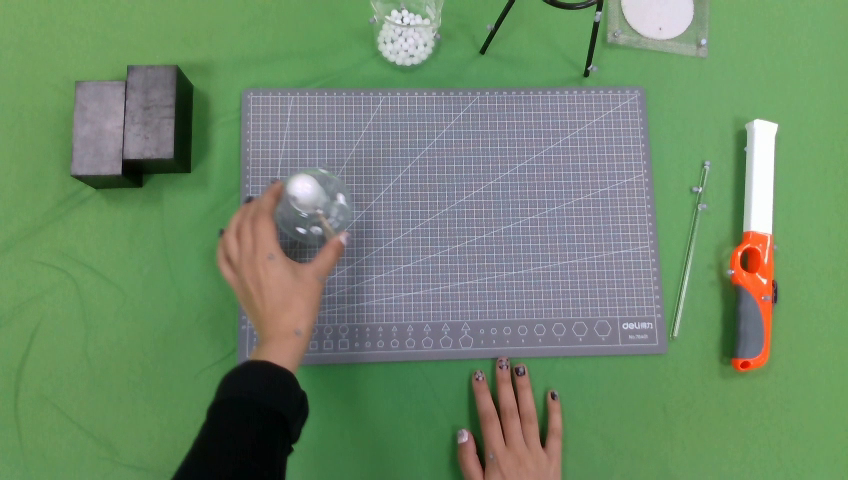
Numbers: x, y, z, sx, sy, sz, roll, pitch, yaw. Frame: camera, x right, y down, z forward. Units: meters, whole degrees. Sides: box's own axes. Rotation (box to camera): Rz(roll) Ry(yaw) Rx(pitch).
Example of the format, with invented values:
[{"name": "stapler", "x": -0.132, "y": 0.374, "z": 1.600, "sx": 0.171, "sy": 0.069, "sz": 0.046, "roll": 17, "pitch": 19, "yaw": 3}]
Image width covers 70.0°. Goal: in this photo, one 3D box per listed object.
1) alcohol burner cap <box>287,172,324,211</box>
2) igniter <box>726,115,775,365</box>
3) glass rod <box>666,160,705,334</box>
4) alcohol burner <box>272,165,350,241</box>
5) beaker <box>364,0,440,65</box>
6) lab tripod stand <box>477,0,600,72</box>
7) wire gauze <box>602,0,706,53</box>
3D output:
[{"name": "alcohol burner cap", "x": -0.111, "y": -0.046, "z": 0.559, "sx": 0.034, "sy": 0.048, "sz": 0.034, "roll": 1, "pitch": 84, "yaw": -6}, {"name": "igniter", "x": 0.357, "y": -0.002, "z": 0.660, "sx": 0.057, "sy": 0.025, "sz": 0.275, "roll": 9, "pitch": 81, "yaw": -11}, {"name": "glass rod", "x": 0.287, "y": 0.005, "z": 0.666, "sx": 0.008, "sy": 0.008, "sz": 0.199, "roll": 15, "pitch": 81, "yaw": -1}, {"name": "alcohol burner", "x": -0.113, "y": -0.041, "z": 0.595, "sx": 0.078, "sy": 0.119, "sz": 0.077, "roll": 1, "pitch": 78, "yaw": -2}, {"name": "beaker", "x": -0.021, "y": -0.235, "z": 0.640, "sx": 0.084, "sy": 0.100, "sz": 0.074, "roll": 44, "pitch": 82, "yaw": 4}, {"name": "lab tripod stand", "x": 0.131, "y": -0.254, "z": 0.634, "sx": 0.148, "sy": 0.132, "sz": 0.148, "roll": 0, "pitch": 80, "yaw": -1}, {"name": "wire gauze", "x": 0.268, "y": -0.282, "z": 0.709, "sx": 0.125, "sy": 0.011, "sz": 0.121, "roll": 6, "pitch": 80, "yaw": 0}]
